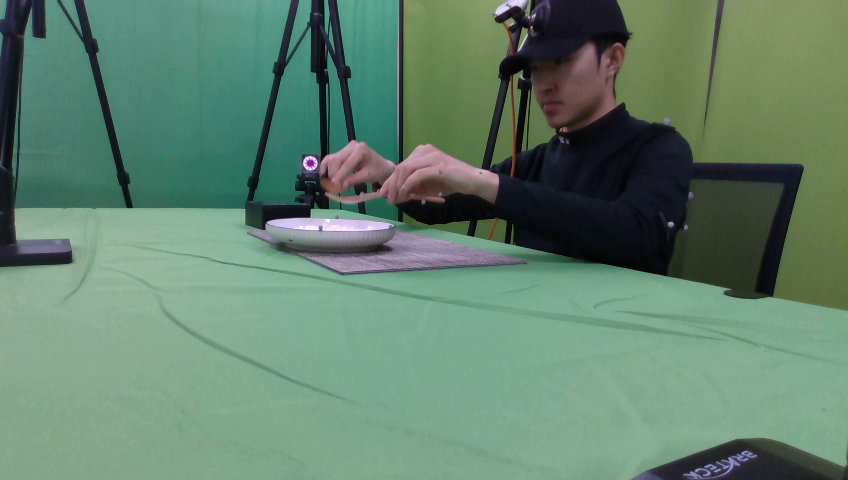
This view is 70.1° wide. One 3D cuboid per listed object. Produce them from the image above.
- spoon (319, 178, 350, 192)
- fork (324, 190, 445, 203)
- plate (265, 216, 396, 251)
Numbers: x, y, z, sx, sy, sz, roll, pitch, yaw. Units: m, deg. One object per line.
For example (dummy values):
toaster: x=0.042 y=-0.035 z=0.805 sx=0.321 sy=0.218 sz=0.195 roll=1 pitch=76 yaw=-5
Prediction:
spoon: x=-0.157 y=-0.102 z=1.115 sx=0.041 sy=0.021 sz=0.194 roll=25 pitch=8 yaw=1
fork: x=-0.063 y=-0.065 z=0.914 sx=0.206 sy=0.018 sz=0.028 roll=0 pitch=-7 yaw=26
plate: x=-0.150 y=-0.011 z=0.978 sx=0.209 sy=0.038 sz=0.209 roll=3 pitch=7 yaw=0
